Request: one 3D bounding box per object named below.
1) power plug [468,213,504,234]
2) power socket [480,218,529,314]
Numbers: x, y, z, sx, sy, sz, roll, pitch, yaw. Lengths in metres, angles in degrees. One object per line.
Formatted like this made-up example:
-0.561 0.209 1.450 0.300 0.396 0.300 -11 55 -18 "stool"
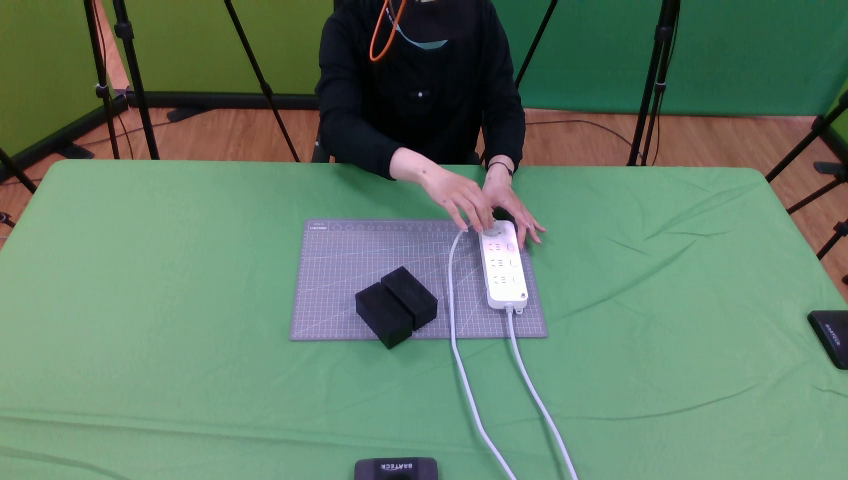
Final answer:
0.120 -0.031 1.183 0.072 0.053 0.035 10 47 2 "power plug"
0.151 0.040 1.152 0.072 0.033 0.225 0 47 -2 "power socket"
